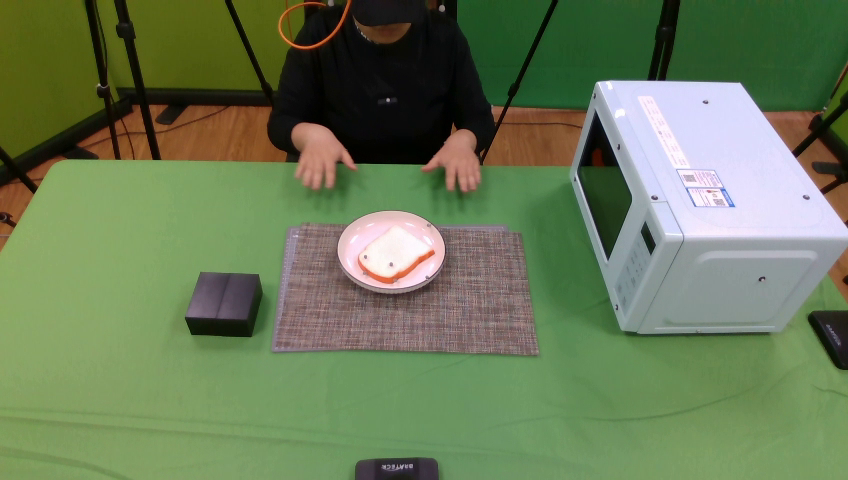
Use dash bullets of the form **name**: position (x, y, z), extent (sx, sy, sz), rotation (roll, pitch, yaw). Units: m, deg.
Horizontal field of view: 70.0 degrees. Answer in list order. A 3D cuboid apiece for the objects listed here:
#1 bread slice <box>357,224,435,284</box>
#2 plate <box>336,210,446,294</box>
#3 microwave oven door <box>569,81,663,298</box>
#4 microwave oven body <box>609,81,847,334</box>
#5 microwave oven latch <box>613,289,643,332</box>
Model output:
- **bread slice**: position (-0.059, 0.028, 1.153), extent (0.104, 0.019, 0.131), rotation (34, 53, 26)
- **plate**: position (-0.062, 0.026, 1.153), extent (0.209, 0.038, 0.208), rotation (3, 46, -2)
- **microwave oven door**: position (0.353, -0.104, 1.147), extent (0.039, 0.245, 0.353), rotation (0, 46, -4)
- **microwave oven body**: position (0.501, -0.070, 1.132), extent (0.326, 0.261, 0.438), rotation (0, 45, -3)
- **microwave oven latch**: position (0.357, 0.124, 1.068), extent (0.030, 0.029, 0.078), rotation (0, 45, -3)
